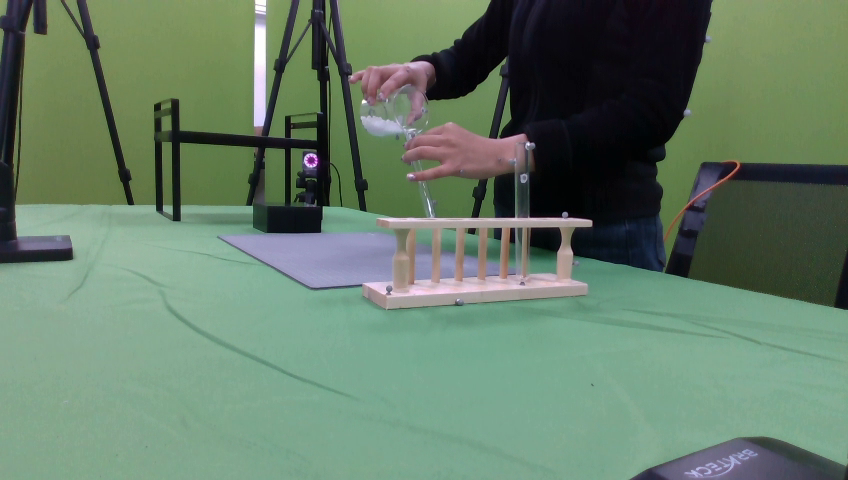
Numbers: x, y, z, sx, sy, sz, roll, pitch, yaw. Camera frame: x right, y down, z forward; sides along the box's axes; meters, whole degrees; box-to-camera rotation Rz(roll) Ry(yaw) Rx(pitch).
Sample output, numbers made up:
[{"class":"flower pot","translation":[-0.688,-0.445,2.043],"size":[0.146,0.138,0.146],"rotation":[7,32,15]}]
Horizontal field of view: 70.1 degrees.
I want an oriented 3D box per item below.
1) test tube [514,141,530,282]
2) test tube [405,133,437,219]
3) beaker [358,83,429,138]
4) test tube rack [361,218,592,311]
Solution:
[{"class":"test tube","translation":[0.103,-0.028,0.636],"size":[0.017,0.150,0.017],"rotation":[-2,12,1]},{"class":"test tube","translation":[-0.005,-0.095,0.901],"size":[0.017,0.150,0.017],"rotation":[-13,-22,-5]},{"class":"beaker","translation":[-0.051,-0.201,0.961],"size":[0.074,0.084,0.100],"rotation":[-2,5,-41]},{"class":"test tube rack","translation":[0.059,0.019,0.640],"size":[0.243,0.085,0.066],"rotation":[-1,8,-27]}]
